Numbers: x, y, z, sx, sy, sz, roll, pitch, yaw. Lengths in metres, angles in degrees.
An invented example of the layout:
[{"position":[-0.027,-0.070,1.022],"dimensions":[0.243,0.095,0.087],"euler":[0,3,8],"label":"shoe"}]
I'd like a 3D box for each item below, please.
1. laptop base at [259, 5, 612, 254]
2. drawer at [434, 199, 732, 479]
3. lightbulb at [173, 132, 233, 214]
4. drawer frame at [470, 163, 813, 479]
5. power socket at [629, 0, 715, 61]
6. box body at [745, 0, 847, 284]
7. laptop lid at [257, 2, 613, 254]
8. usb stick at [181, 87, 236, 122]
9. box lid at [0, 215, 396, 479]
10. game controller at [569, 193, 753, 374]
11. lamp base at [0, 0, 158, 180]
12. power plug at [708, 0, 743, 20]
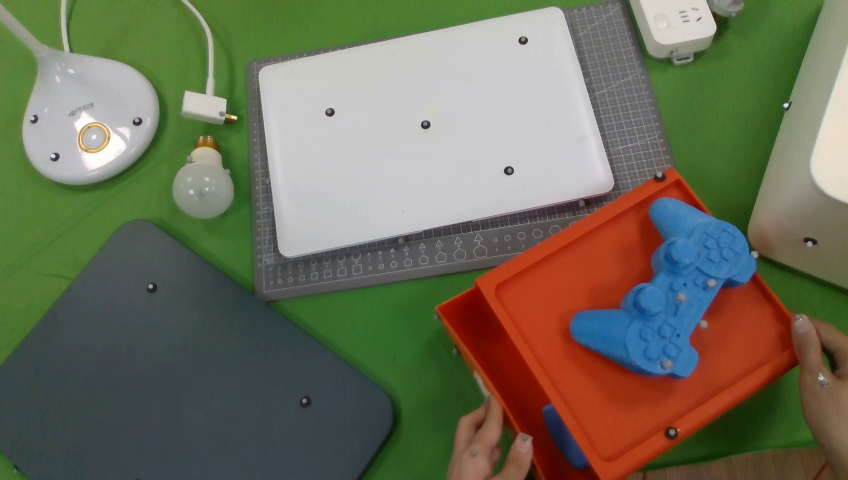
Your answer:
[{"position":[0.002,-0.125,0.663],"dimensions":[0.354,0.023,0.234],"euler":[-12,74,1],"label":"laptop base"},{"position":[0.146,0.092,0.541],"dimensions":[0.212,0.074,0.193],"euler":[-30,70,-5],"label":"drawer"},{"position":[-0.236,-0.076,0.652],"dimensions":[0.059,0.060,0.106],"euler":[-11,55,2],"label":"lightbulb"},{"position":[0.181,0.070,0.545],"dimensions":[0.213,0.083,0.200],"euler":[-30,71,-5],"label":"drawer frame"},{"position":[0.266,-0.309,0.696],"dimensions":[0.072,0.033,0.225],"euler":[-10,70,1],"label":"power socket"},{"position":[0.479,-0.124,0.544],"dimensions":[0.253,0.161,0.363],"euler":[23,74,12],"label":"box body"},{"position":[0.001,-0.127,0.651],"dimensions":[0.357,0.013,0.240],"euler":[-10,73,2],"label":"laptop lid"},{"position":[-0.241,-0.151,0.682],"dimensions":[0.059,0.021,0.027],"euler":[11,73,-26],"label":"usb stick"},{"position":[-0.240,0.159,0.591],"dimensions":[0.369,0.015,0.262],"euler":[33,77,14],"label":"box lid"},{"position":[0.200,0.036,0.500],"dimensions":[0.097,0.052,0.155],"euler":[36,79,11],"label":"game controller"},{"position":[-0.401,-0.178,0.632],"dimensions":[0.160,0.181,0.178],"euler":[-36,68,-8],"label":"lamp base"},{"position":[0.347,-0.274,0.674],"dimensions":[0.072,0.053,0.035],"euler":[-28,65,-24],"label":"power plug"}]
